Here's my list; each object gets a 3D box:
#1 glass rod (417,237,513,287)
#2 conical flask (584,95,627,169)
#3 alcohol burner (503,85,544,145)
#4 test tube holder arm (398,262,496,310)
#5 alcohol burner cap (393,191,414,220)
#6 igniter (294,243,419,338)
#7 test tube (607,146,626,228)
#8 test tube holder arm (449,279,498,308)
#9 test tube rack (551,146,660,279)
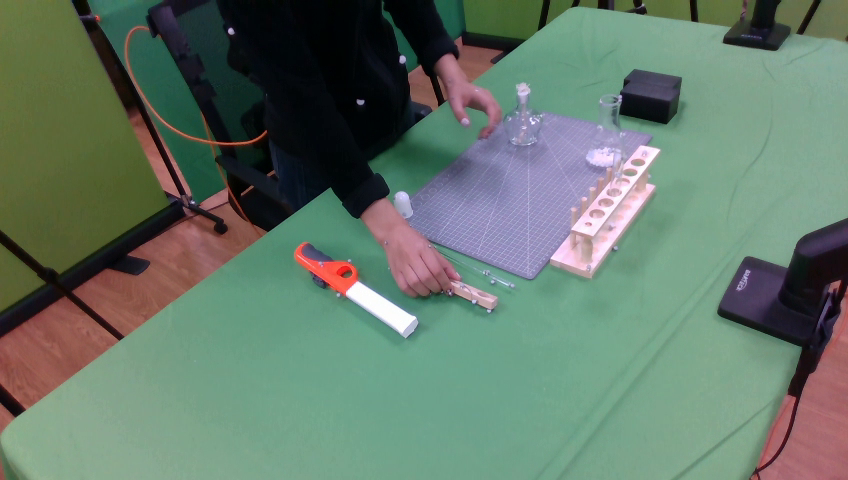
[{"bbox_3d":[0.059,0.032,0.944,0.198,0.008,0.008,27,52,37],"label":"glass rod"},{"bbox_3d":[0.324,-0.192,1.066,0.075,0.122,0.075,-6,40,5],"label":"conical flask"},{"bbox_3d":[0.191,-0.243,1.160,0.078,0.119,0.077,-4,40,4],"label":"alcohol burner"},{"bbox_3d":[0.030,0.066,0.900,0.177,0.015,0.013,20,25,32],"label":"test tube holder arm"},{"bbox_3d":[-0.037,-0.062,1.044,0.034,0.048,0.033,-5,41,5],"label":"alcohol burner cap"},{"bbox_3d":[-0.113,0.070,0.919,0.274,0.025,0.057,28,63,36],"label":"igniter"},{"bbox_3d":[0.283,-0.074,0.891,0.017,0.151,0.017,-5,44,6],"label":"test tube"},{"bbox_3d":[0.069,0.078,0.880,0.087,0.015,0.010,21,25,33],"label":"test tube holder arm"},{"bbox_3d":[0.286,-0.053,0.943,0.066,0.085,0.243,21,49,32],"label":"test tube rack"}]
